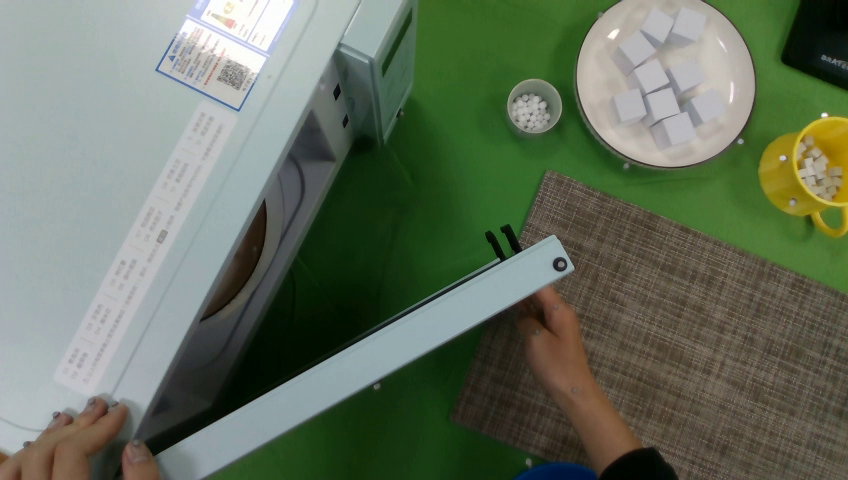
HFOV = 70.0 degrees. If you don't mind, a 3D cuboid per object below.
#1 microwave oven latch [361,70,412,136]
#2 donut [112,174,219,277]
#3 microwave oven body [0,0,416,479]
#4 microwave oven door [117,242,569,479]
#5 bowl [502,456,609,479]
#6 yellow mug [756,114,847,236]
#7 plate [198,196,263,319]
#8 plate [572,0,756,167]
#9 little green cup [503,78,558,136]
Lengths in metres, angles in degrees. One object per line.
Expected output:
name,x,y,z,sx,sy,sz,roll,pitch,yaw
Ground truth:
microwave oven latch,-0.041,-0.155,0.659,0.030,0.029,0.079,30,85,0
donut,-0.245,-0.014,0.578,0.099,0.048,0.099,0,88,-1
microwave oven body,-0.247,-0.069,0.545,0.326,0.260,0.441,26,85,-1
microwave oven door,-0.059,0.103,0.535,0.356,0.244,0.039,-28,85,-5
bowl,0.130,0.293,0.627,0.151,0.077,0.151,0,84,-2
yellow mug,0.443,-0.068,0.680,0.100,0.064,0.130,-14,86,-4
plate,-0.260,-0.017,0.589,0.209,0.038,0.209,0,88,-4
plate,0.270,-0.183,0.696,0.208,0.039,0.207,0,85,-3
little green cup,0.118,-0.147,0.683,0.061,0.038,0.061,0,86,-3
